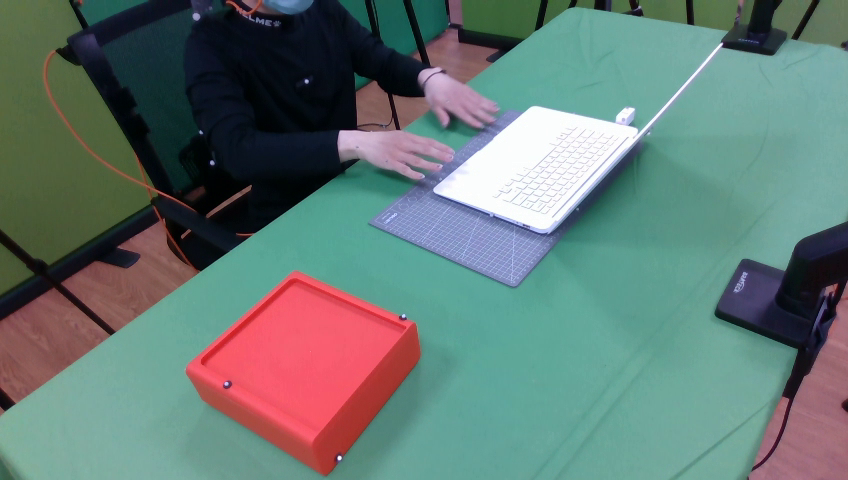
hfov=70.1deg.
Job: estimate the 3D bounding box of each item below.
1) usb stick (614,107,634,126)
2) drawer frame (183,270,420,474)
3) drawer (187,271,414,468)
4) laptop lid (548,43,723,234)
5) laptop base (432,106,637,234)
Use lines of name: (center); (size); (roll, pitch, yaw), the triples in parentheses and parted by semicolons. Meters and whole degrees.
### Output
usb stick: (0.385, -0.234, 1.174); (0.021, 0.027, 0.059); (22, 47, 30)
drawer frame: (-0.149, 0.153, 0.767); (0.212, 0.083, 0.202); (20, 46, 27)
drawer: (-0.150, 0.154, 0.768); (0.210, 0.073, 0.195); (20, 46, 28)
laptop lid: (0.335, -0.160, 0.955); (0.013, 0.241, 0.358); (42, 54, 8)
laptop base: (0.210, -0.142, 1.111); (0.233, 0.023, 0.355); (21, 48, 33)
